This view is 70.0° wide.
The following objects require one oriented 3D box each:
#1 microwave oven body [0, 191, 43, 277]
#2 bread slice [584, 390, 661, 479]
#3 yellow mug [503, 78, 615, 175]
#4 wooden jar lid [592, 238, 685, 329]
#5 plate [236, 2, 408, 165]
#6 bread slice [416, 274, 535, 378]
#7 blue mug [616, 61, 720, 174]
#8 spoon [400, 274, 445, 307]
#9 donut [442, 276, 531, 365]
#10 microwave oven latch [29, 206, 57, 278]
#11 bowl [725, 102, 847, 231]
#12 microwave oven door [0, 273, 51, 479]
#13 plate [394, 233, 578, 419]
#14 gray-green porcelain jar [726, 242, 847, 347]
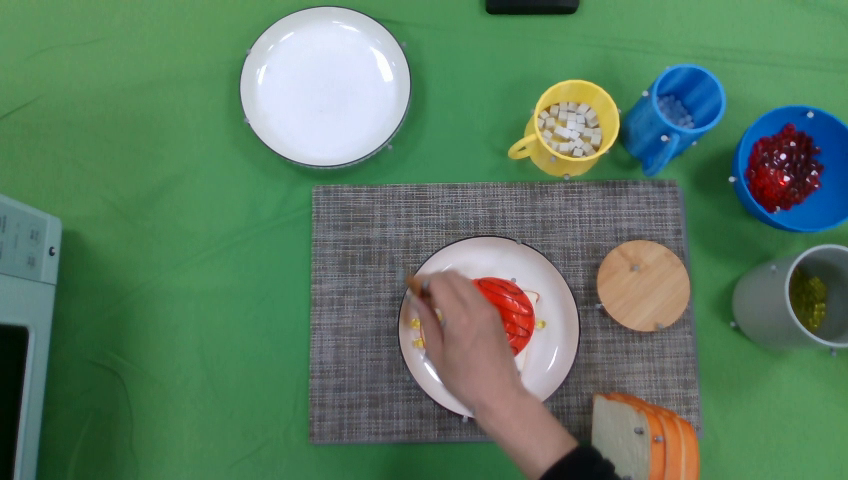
[{"bbox_3d":[-0.585,0.158,0.556,0.326,0.261,0.440,0,80,-2],"label":"microwave oven body"},{"bbox_3d":[0.204,0.214,0.633,0.018,0.134,0.106,7,78,-9],"label":"bread slice"},{"bbox_3d":[0.156,-0.129,0.727,0.131,0.064,0.099,-22,80,-4],"label":"yellow mug"},{"bbox_3d":[0.252,0.052,0.717,0.108,0.021,0.108,0,81,-1],"label":"wooden jar lid"},{"bbox_3d":[-0.123,-0.189,0.746,0.208,0.039,0.207,0,80,-1],"label":"plate"},{"bbox_3d":[0.056,0.095,0.697,0.131,0.019,0.104,12,80,0],"label":"bread slice"},{"bbox_3d":[0.278,-0.133,0.711,0.082,0.106,0.116,19,80,3],"label":"blue mug"},{"bbox_3d":[-0.004,0.051,0.597,0.041,0.194,0.021,32,88,10],"label":"spoon"},{"bbox_3d":[0.069,0.088,0.669,0.099,0.048,0.098,1,79,-2],"label":"donut"},{"bbox_3d":[-0.438,0.003,0.685,0.030,0.029,0.079,3,80,-1],"label":"microwave oven latch"},{"bbox_3d":[0.421,-0.078,0.718,0.151,0.077,0.151,0,80,-1],"label":"bowl"},{"bbox_3d":[-0.439,0.200,0.547,0.039,0.244,0.354,0,79,-1],"label":"microwave oven door"},{"bbox_3d":[0.070,0.097,0.695,0.209,0.038,0.208,0,80,-1],"label":"plate"},{"bbox_3d":[0.408,0.065,0.668,0.106,0.127,0.105,0,79,-1],"label":"gray-green porcelain jar"}]
